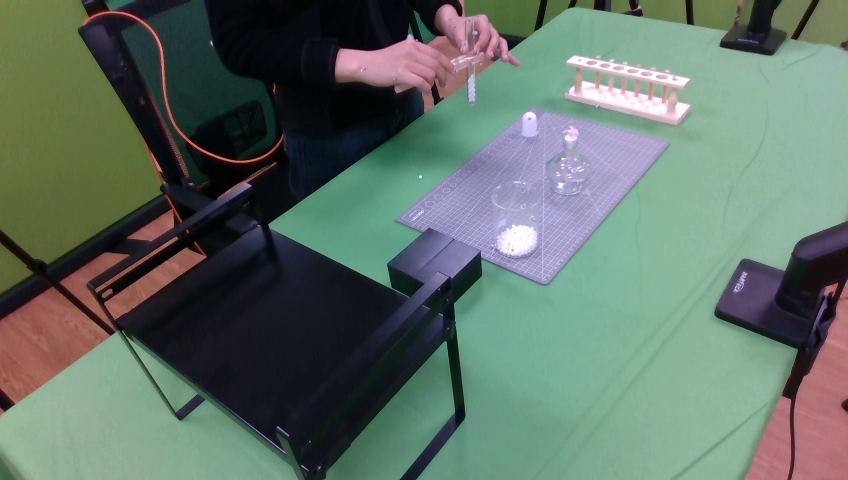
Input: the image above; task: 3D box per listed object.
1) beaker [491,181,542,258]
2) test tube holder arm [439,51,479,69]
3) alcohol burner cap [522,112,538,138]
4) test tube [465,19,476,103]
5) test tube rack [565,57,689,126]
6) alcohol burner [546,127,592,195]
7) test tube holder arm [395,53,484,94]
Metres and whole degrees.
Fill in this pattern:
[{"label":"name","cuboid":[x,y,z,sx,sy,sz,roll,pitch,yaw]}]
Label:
[{"label":"beaker","cuboid":[0.144,-0.030,0.925,0.073,0.100,0.084,23,48,31]},{"label":"test tube holder arm","cuboid":[0.060,-0.303,1.035,0.088,0.015,0.010,-33,44,-29]},{"label":"alcohol burner cap","cuboid":[0.210,-0.230,1.195,0.034,0.048,0.033,-5,41,5]},{"label":"test tube","cuboid":[0.081,-0.306,1.047,0.017,0.151,0.017,-3,41,3]},{"label":"test tube rack","cuboid":[0.412,-0.311,1.231,0.240,0.085,0.067,24,49,32]},{"label":"alcohol burner","cuboid":[0.247,-0.137,1.023,0.078,0.119,0.077,-4,38,4]},{"label":"test tube holder arm","cuboid":[0.028,-0.280,1.012,0.179,0.015,0.013,-28,41,-24]}]
